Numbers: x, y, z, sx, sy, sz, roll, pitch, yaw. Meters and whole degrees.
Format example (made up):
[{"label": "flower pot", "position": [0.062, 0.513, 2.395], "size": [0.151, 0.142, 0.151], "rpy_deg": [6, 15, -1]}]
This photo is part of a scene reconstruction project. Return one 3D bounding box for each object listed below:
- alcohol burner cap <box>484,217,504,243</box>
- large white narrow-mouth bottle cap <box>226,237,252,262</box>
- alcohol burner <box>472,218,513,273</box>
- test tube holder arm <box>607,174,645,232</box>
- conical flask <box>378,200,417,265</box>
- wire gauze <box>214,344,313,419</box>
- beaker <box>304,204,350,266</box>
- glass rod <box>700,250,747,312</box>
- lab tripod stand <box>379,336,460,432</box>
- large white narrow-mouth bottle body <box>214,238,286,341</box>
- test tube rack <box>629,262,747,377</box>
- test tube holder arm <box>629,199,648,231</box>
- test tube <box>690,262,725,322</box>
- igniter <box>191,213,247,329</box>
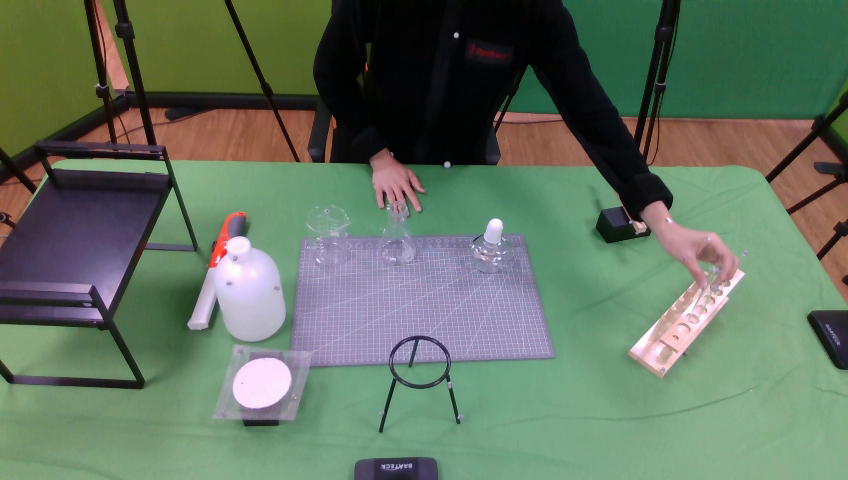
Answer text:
[{"label": "alcohol burner cap", "position": [0.130, -0.021, 1.107], "size": [0.034, 0.048, 0.033], "rpy_deg": [5, 46, -5]}, {"label": "large white narrow-mouth bottle cap", "position": [-0.281, 0.014, 0.923], "size": [0.038, 0.024, 0.037], "rpy_deg": [2, 46, -2]}, {"label": "alcohol burner", "position": [0.128, 0.005, 1.132], "size": [0.078, 0.120, 0.077], "rpy_deg": [0, 47, 0]}, {"label": "test tube holder arm", "position": [0.411, -0.080, 1.238], "size": [0.013, 0.015, 0.177], "rpy_deg": [1, 41, -13]}, {"label": "conical flask", "position": [-0.050, -0.018, 1.136], "size": [0.075, 0.122, 0.075], "rpy_deg": [2, 46, -2]}, {"label": "wire gauze", "position": [-0.241, 0.213, 0.915], "size": [0.121, 0.011, 0.124], "rpy_deg": [5, 46, 1]}, {"label": "beaker", "position": [-0.178, -0.006, 1.132], "size": [0.084, 0.101, 0.073], "rpy_deg": [4, 46, -1]}, {"label": "glass rod", "position": [0.501, 0.075, 1.021], "size": [0.008, 0.201, 0.008], "rpy_deg": [0, 54, 1]}, {"label": "lab tripod stand", "position": [-0.010, 0.214, 0.911], "size": [0.148, 0.132, 0.147], "rpy_deg": [1, 45, 0]}, {"label": "large white narrow-mouth bottle body", "position": [-0.285, 0.073, 0.986], "size": [0.102, 0.195, 0.101], "rpy_deg": [2, 46, -2]}, {"label": "test tube rack", "position": [0.464, 0.126, 1.060], "size": [0.242, 0.085, 0.066], "rpy_deg": [-34, 56, -30]}, {"label": "test tube holder arm", "position": [0.423, -0.050, 1.206], "size": [0.010, 0.015, 0.087], "rpy_deg": [1, 41, -12]}, {"label": "test tube", "position": [0.441, 0.086, 0.946], "size": [0.017, 0.151, 0.017], "rpy_deg": [-3, 49, 3]}, {"label": "igniter", "position": [-0.376, 0.047, 1.121], "size": [0.057, 0.025, 0.275], "rpy_deg": [-4, 46, 6]}]
